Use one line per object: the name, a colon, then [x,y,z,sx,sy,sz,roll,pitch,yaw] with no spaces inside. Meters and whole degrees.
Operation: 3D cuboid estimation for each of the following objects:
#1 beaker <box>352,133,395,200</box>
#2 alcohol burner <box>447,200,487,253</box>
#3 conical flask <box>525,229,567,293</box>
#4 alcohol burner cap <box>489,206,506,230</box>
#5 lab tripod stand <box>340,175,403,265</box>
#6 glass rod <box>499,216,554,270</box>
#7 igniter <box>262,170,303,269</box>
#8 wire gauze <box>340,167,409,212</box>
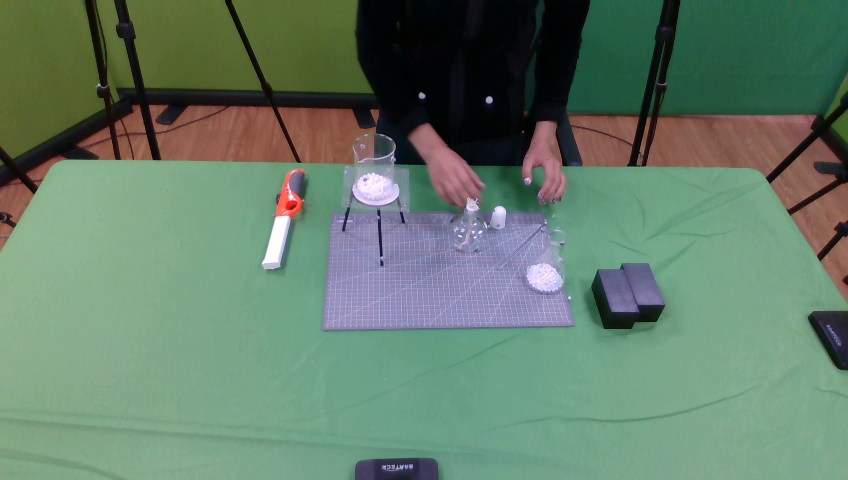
beaker: [-0.091,-0.126,1.074,0.074,0.101,0.084,26,48,21]
alcohol burner: [0.085,-0.033,1.171,0.078,0.119,0.077,4,45,-3]
conical flask: [0.232,0.036,1.110,0.075,0.122,0.075,2,46,-2]
alcohol burner cap: [0.152,-0.047,1.240,0.034,0.048,0.033,2,45,-2]
lab tripod stand: [-0.093,-0.050,1.160,0.148,0.132,0.147,2,44,-2]
glass rod: [0.208,0.002,1.219,0.008,0.008,0.199,32,52,25]
igniter: [-0.283,-0.050,1.222,0.057,0.025,0.275,-5,45,6]
wire gauze: [-0.091,-0.095,1.111,0.125,0.011,0.120,1,43,-2]
